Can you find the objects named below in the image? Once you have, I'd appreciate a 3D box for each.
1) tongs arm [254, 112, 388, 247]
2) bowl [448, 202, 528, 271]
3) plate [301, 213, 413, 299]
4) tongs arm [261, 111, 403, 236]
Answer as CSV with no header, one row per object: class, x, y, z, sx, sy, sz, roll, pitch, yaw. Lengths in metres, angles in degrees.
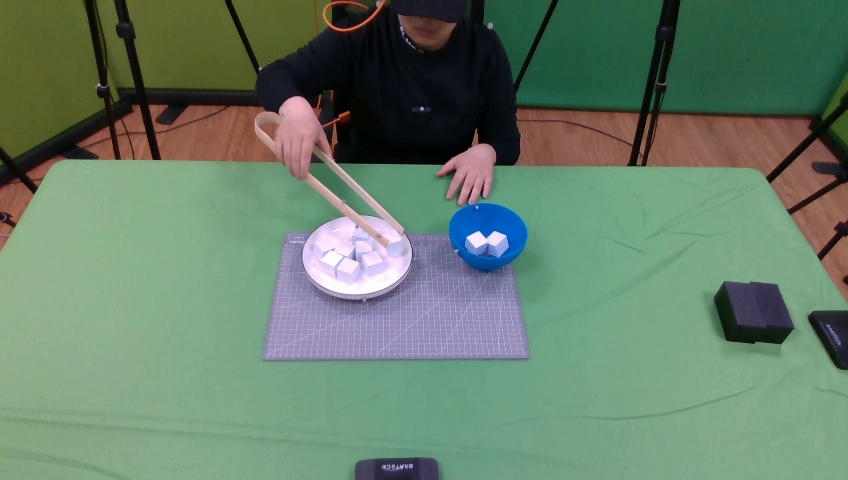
tongs arm,-0.200,-0.121,1.167,0.383,0.026,0.050,38,56,14
bowl,0.118,0.006,1.160,0.151,0.077,0.150,2,46,-2
plate,-0.124,0.033,1.143,0.208,0.039,0.206,2,46,-2
tongs arm,-0.182,-0.134,1.182,0.386,0.028,0.028,41,61,16
